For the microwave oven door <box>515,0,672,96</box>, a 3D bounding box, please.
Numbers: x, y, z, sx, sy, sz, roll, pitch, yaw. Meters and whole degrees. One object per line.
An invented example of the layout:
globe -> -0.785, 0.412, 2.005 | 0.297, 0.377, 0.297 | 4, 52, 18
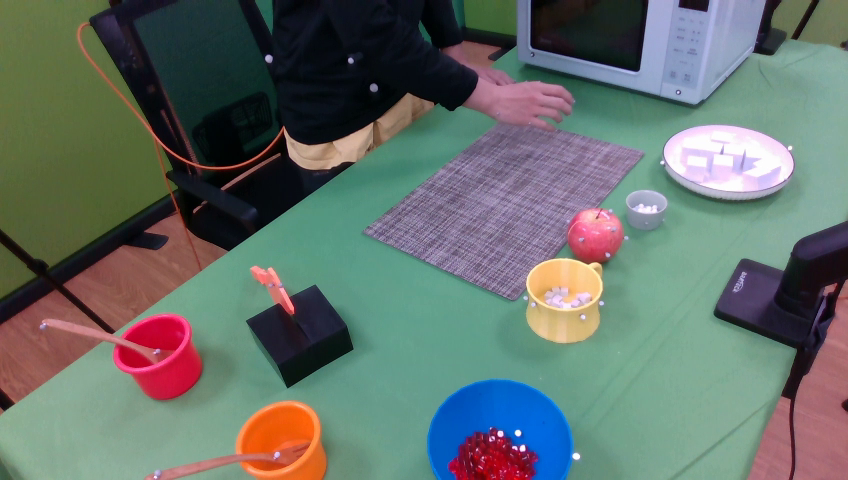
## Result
microwave oven door -> 0.344, -0.455, 1.259 | 0.353, 0.245, 0.039 | 26, 51, 33

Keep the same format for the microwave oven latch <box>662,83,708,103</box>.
microwave oven latch -> 0.518, -0.296, 1.204 | 0.078, 0.029, 0.030 | 28, 52, 36

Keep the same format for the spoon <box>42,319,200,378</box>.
spoon -> -0.385, 0.135, 0.779 | 0.195, 0.021, 0.041 | 29, 37, -26

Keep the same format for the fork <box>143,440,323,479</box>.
fork -> -0.190, 0.231, 0.631 | 0.028, 0.018, 0.209 | 38, 14, 37

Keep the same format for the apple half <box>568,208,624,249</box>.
apple half -> 0.259, -0.014, 0.914 | 0.080, 0.075, 0.053 | 0, 36, 15

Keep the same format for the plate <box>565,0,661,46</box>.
plate -> 0.427, -0.490, 1.376 | 0.209, 0.038, 0.208 | -5, 41, 5

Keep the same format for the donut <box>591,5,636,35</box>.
donut -> 0.427, -0.498, 1.365 | 0.099, 0.048, 0.098 | -4, 39, 4

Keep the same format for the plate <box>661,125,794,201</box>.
plate -> 0.513, -0.128, 1.035 | 0.207, 0.039, 0.206 | -4, 40, 4

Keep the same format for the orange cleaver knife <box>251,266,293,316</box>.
orange cleaver knife -> -0.221, 0.071, 0.873 | 0.012, 0.077, 0.210 | -25, 11, -21

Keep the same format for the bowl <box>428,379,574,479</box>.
bowl -> 0.082, 0.233, 0.644 | 0.151, 0.077, 0.150 | -4, 40, 4

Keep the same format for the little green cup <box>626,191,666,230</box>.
little green cup -> 0.352, -0.046, 0.963 | 0.061, 0.039, 0.061 | -4, 40, 4

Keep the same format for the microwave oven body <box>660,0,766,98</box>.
microwave oven body -> 0.472, -0.513, 1.317 | 0.438, 0.261, 0.327 | 26, 51, 34

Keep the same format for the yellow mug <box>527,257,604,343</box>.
yellow mug -> 0.201, 0.072, 0.825 | 0.131, 0.064, 0.099 | -32, 46, -27

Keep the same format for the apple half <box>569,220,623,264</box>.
apple half -> 0.251, 0.010, 0.884 | 0.081, 0.081, 0.032 | 3, 37, 12
